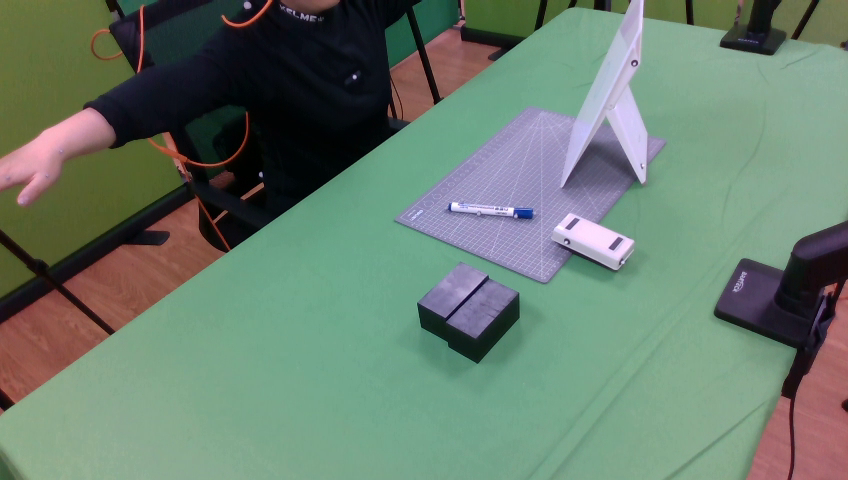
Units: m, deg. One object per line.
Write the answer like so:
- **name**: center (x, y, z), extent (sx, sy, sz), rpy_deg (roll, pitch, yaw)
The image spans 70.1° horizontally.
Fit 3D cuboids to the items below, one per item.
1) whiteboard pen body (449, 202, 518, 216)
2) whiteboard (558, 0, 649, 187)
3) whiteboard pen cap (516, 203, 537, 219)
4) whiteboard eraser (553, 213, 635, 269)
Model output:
- **whiteboard pen body**: center (0.111, -0.052, 1.021), extent (0.140, 0.017, 0.017), rpy_deg (6, 42, 16)
- **whiteboard**: center (0.361, -0.238, 1.026), extent (0.144, 0.306, 0.217), rpy_deg (21, 45, 4)
- **whiteboard pen cap**: center (0.171, -0.048, 1.004), extent (0.033, 0.018, 0.018), rpy_deg (-23, 42, -19)
- **whiteboard eraser**: center (0.257, 0.003, 0.918), extent (0.112, 0.042, 0.056), rpy_deg (27, 49, 30)
